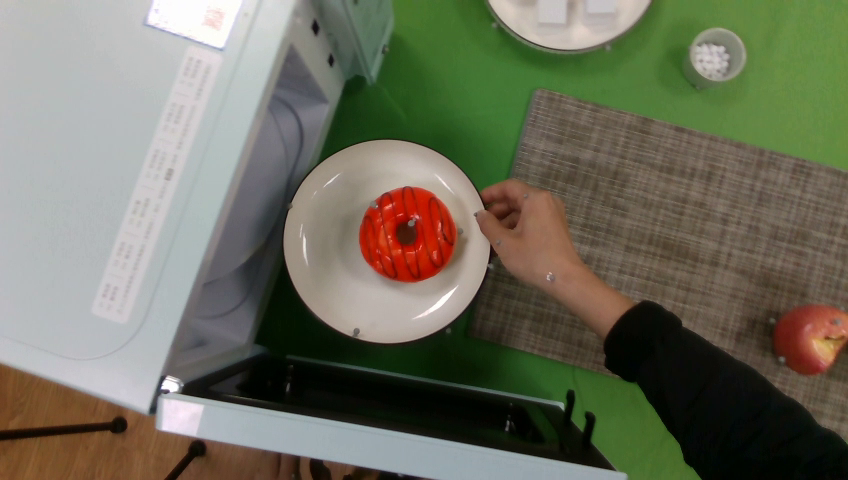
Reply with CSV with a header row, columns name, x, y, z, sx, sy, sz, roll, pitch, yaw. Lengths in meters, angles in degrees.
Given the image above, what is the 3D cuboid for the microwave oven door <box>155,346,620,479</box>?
name,x,y,z,sx,sy,sz,roll,pitch,yaw
microwave oven door,-0.025,0.160,0.566,0.356,0.244,0.039,10,87,2

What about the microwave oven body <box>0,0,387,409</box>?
name,x,y,z,sx,sy,sz,roll,pitch,yaw
microwave oven body,-0.262,-0.115,0.585,0.326,0.260,0.441,18,89,1

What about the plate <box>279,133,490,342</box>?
name,x,y,z,sx,sy,sz,roll,pitch,yaw
plate,-0.039,-0.002,0.612,0.209,0.038,0.208,0,85,0

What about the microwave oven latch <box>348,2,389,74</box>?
name,x,y,z,sx,sy,sz,roll,pitch,yaw
microwave oven latch,-0.063,-0.231,0.683,0.030,0.029,0.079,21,89,1

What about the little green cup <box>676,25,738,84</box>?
name,x,y,z,sx,sy,sz,roll,pitch,yaw
little green cup,0.321,-0.210,0.695,0.061,0.038,0.061,0,87,1

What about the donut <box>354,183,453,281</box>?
name,x,y,z,sx,sy,sz,roll,pitch,yaw
donut,-0.020,-0.008,0.602,0.099,0.048,0.099,0,86,-1

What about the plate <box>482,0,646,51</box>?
name,x,y,z,sx,sy,sz,roll,pitch,yaw
plate,0.160,-0.317,0.702,0.208,0.039,0.207,0,87,1

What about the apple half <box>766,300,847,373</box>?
name,x,y,z,sx,sy,sz,roll,pitch,yaw
apple half,0.408,0.097,0.660,0.053,0.075,0.081,35,92,7
